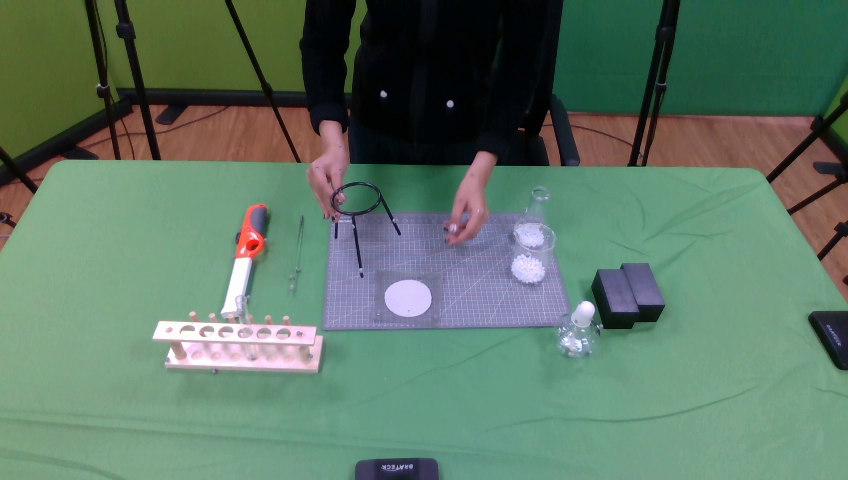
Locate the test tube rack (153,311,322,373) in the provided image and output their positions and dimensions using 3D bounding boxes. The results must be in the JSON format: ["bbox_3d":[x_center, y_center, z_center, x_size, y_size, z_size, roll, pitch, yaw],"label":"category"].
[{"bbox_3d":[-0.293,0.160,0.977,0.242,0.085,0.066,3,46,-2],"label":"test tube rack"}]

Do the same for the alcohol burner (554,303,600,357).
[{"bbox_3d":[0.260,0.143,1.018,0.078,0.119,0.077,3,45,-3],"label":"alcohol burner"}]

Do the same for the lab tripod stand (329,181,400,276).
[{"bbox_3d":[-0.114,-0.031,1.102,0.148,0.132,0.147,-2,42,2],"label":"lab tripod stand"}]

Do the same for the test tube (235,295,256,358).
[{"bbox_3d":[-0.274,0.136,0.933,0.017,0.151,0.017,4,45,-4],"label":"test tube"}]

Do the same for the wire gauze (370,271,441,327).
[{"bbox_3d":[-0.032,0.103,1.104,0.125,0.011,0.121,4,46,3],"label":"wire gauze"}]

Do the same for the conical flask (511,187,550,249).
[{"bbox_3d":[0.217,-0.048,1.190,0.075,0.122,0.075,2,46,-2],"label":"conical flask"}]

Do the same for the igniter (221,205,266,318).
[{"bbox_3d":[-0.338,0.030,1.140,0.057,0.025,0.274,-5,46,4],"label":"igniter"}]

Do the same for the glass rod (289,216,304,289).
[{"bbox_3d":[-0.247,0.019,1.171,0.008,0.008,0.198,0,43,-3],"label":"glass rod"}]

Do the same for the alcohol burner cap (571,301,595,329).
[{"bbox_3d":[0.262,0.120,0.991,0.034,0.048,0.033,2,52,-2],"label":"alcohol burner cap"}]

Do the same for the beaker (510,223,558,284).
[{"bbox_3d":[0.199,0.027,1.132,0.083,0.101,0.074,27,50,21],"label":"beaker"}]
